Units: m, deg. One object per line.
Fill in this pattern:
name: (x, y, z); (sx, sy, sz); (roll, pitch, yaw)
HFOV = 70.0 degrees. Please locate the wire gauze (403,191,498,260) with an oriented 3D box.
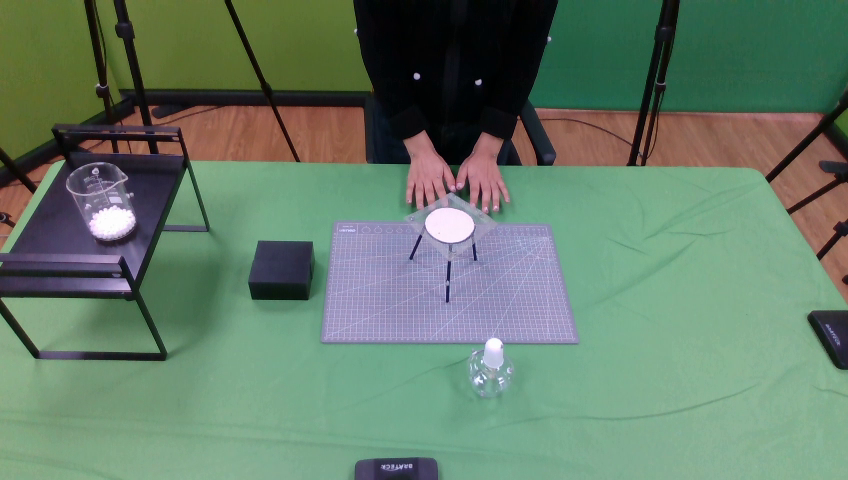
wire gauze: (0.046, -0.032, 1.053); (0.121, 0.011, 0.124); (-32, 55, -29)

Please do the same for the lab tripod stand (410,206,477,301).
lab tripod stand: (0.039, 0.015, 1.101); (0.148, 0.132, 0.147); (1, 47, 0)

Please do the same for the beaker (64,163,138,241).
beaker: (-0.478, -0.055, 0.910); (0.084, 0.101, 0.073); (-9, 48, -13)

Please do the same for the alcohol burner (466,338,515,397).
alcohol burner: (0.106, 0.194, 0.952); (0.078, 0.120, 0.077); (1, 46, 0)

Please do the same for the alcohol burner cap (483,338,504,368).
alcohol burner cap: (0.108, 0.170, 0.928); (0.034, 0.048, 0.033); (0, 41, 1)
